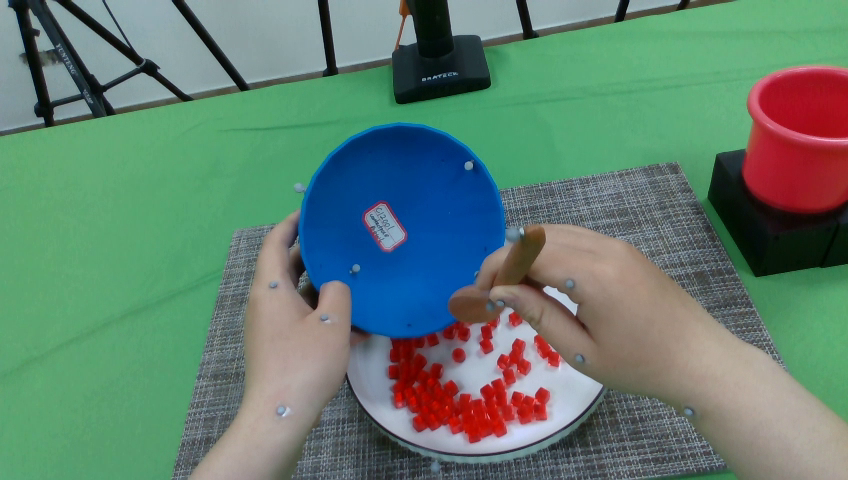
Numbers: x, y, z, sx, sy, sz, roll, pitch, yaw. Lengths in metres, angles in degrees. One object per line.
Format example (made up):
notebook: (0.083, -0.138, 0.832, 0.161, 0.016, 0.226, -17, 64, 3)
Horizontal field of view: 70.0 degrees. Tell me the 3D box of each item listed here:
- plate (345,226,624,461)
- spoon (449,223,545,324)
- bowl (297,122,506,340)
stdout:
plate: (0.045, 0.074, 0.466, 0.207, 0.039, 0.205, -6, 46, 7)
spoon: (0.042, 0.026, 0.343, 0.041, 0.194, 0.021, 6, 75, -2)
bowl: (-0.023, -0.007, 0.452, 0.151, 0.152, 0.076, -29, 11, -16)
